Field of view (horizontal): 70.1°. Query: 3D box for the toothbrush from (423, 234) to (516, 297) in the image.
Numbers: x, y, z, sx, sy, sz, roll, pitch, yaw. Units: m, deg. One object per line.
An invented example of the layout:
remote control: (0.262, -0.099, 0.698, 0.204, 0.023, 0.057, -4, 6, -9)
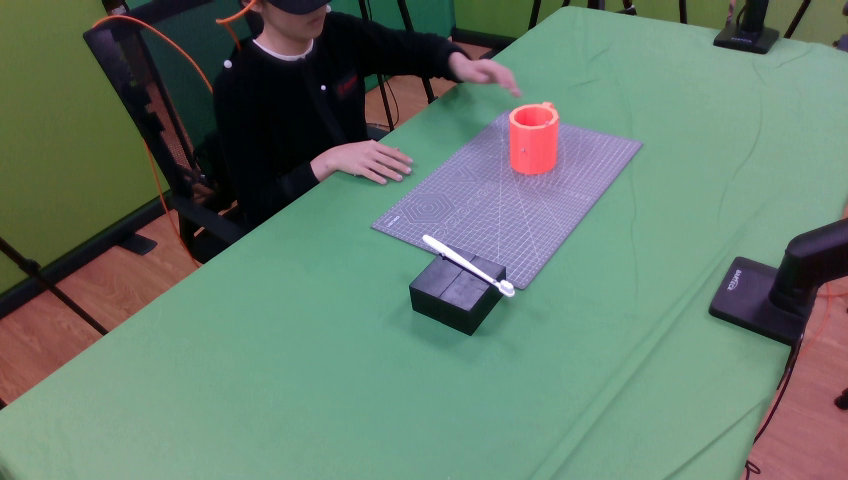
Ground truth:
toothbrush: (0.060, 0.031, 0.859, 0.014, 0.017, 0.180, -37, 48, -25)

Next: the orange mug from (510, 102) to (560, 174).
orange mug: (0.210, -0.195, 1.109, 0.083, 0.101, 0.126, 16, 50, 26)
